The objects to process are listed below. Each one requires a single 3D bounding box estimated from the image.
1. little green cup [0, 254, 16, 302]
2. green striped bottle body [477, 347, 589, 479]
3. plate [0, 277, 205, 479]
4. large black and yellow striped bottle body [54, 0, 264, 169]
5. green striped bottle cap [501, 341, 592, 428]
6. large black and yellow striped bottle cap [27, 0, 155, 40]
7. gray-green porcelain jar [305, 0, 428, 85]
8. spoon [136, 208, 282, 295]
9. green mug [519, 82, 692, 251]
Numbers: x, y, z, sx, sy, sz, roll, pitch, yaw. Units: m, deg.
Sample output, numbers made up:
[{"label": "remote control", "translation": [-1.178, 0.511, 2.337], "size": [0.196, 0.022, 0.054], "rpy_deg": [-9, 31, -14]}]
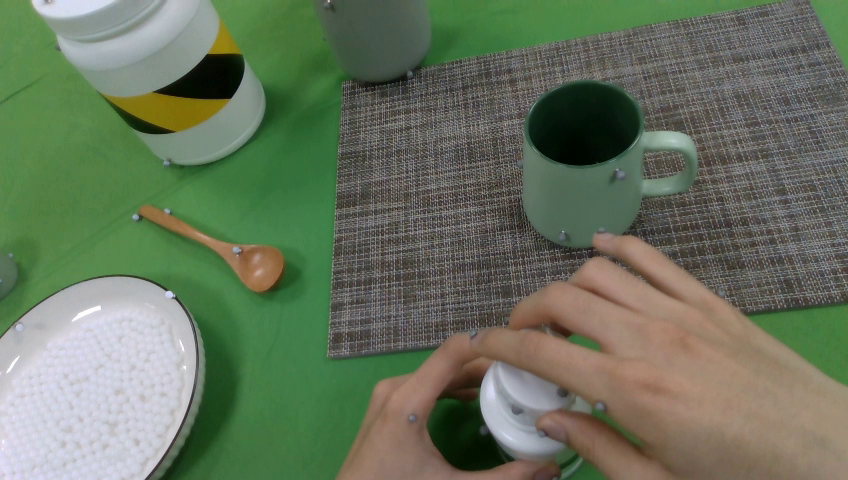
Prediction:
[{"label": "little green cup", "translation": [-0.423, 0.035, 0.572], "size": [0.061, 0.039, 0.061], "rpy_deg": [-5, 59, 9]}, {"label": "green striped bottle body", "translation": [0.068, 0.106, 0.369], "size": [0.063, 0.120, 0.062], "rpy_deg": [-6, 60, 11]}, {"label": "plate", "translation": [-0.267, 0.129, 0.481], "size": [0.209, 0.038, 0.207], "rpy_deg": [-6, 59, 10]}, {"label": "large black and yellow striped bottle body", "translation": [-0.246, -0.168, 0.563], "size": [0.130, 0.186, 0.129], "rpy_deg": [-6, 59, 10]}, {"label": "green striped bottle cap", "translation": [0.061, 0.072, 0.305], "size": [0.044, 0.020, 0.044], "rpy_deg": [-12, 31, 8]}, {"label": "large black and yellow striped bottle cap", "translation": [-0.264, -0.208, 0.492], "size": [0.115, 0.019, 0.114], "rpy_deg": [-5, 58, 9]}, {"label": "gray-green porcelain jar", "translation": [-0.055, -0.224, 0.583], "size": [0.106, 0.128, 0.105], "rpy_deg": [-6, 55, 9]}, {"label": "spoon", "translation": [-0.199, 0.002, 0.548], "size": [0.192, 0.022, 0.041], "rpy_deg": [22, 87, 23]}, {"label": "green mug", "translation": [0.132, -0.052, 0.450], "size": [0.125, 0.106, 0.092], "rpy_deg": [0, 60, 13]}]
